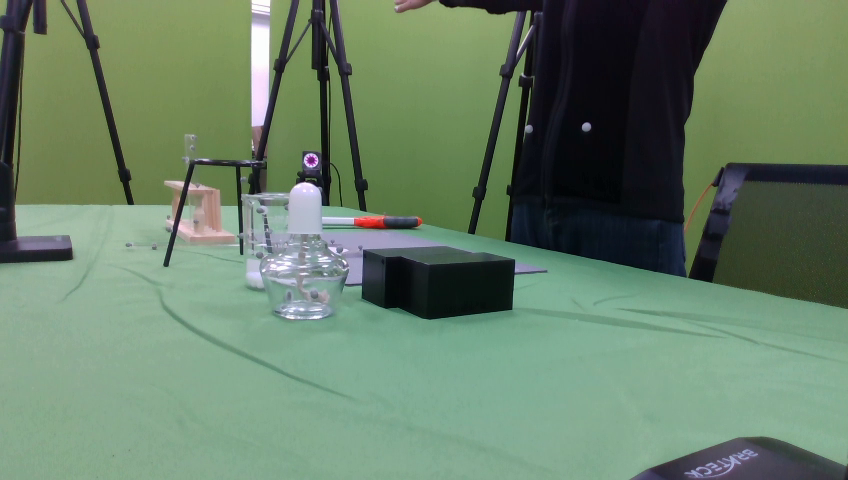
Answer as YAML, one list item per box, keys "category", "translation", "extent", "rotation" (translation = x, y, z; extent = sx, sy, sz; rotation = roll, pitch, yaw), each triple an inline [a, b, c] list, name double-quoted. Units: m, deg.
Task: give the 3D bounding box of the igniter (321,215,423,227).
- category: "igniter"
  translation: [-0.136, -0.040, 1.240]
  extent: [0.278, 0.025, 0.057]
  rotation: [0, -2, -22]

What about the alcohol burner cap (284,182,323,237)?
- category: "alcohol burner cap"
  translation: [-0.105, -0.027, 0.529]
  extent: [0.034, 0.048, 0.034]
  rotation: [2, 3, 0]

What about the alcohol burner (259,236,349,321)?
- category: "alcohol burner"
  translation: [-0.106, 0.009, 0.532]
  extent: [0.078, 0.119, 0.078]
  rotation: [1, 8, 0]

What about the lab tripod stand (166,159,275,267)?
- category: "lab tripod stand"
  translation: [-0.249, -0.036, 0.764]
  extent: [0.148, 0.131, 0.148]
  rotation: [2, 9, 0]

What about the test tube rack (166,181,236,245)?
- category: "test tube rack"
  translation: [-0.383, -0.051, 1.024]
  extent: [0.067, 0.085, 0.241]
  rotation: [-2, 9, -31]

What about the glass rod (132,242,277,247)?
- category: "glass rod"
  translation: [-0.316, 0.007, 0.885]
  extent: [0.201, 0.008, 0.008]
  rotation: [0, 7, -27]

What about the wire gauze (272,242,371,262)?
- category: "wire gauze"
  translation: [-0.155, 0.013, 0.877]
  extent: [0.122, 0.011, 0.124]
  rotation: [-3, 10, -29]

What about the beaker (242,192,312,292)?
- category: "beaker"
  translation: [-0.157, 0.000, 0.642]
  extent: [0.084, 0.100, 0.074]
  rotation: [4, 7, 19]

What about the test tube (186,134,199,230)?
- category: "test tube"
  translation: [-0.360, -0.089, 0.946]
  extent: [0.017, 0.150, 0.017]
  rotation: [0, 10, 0]
